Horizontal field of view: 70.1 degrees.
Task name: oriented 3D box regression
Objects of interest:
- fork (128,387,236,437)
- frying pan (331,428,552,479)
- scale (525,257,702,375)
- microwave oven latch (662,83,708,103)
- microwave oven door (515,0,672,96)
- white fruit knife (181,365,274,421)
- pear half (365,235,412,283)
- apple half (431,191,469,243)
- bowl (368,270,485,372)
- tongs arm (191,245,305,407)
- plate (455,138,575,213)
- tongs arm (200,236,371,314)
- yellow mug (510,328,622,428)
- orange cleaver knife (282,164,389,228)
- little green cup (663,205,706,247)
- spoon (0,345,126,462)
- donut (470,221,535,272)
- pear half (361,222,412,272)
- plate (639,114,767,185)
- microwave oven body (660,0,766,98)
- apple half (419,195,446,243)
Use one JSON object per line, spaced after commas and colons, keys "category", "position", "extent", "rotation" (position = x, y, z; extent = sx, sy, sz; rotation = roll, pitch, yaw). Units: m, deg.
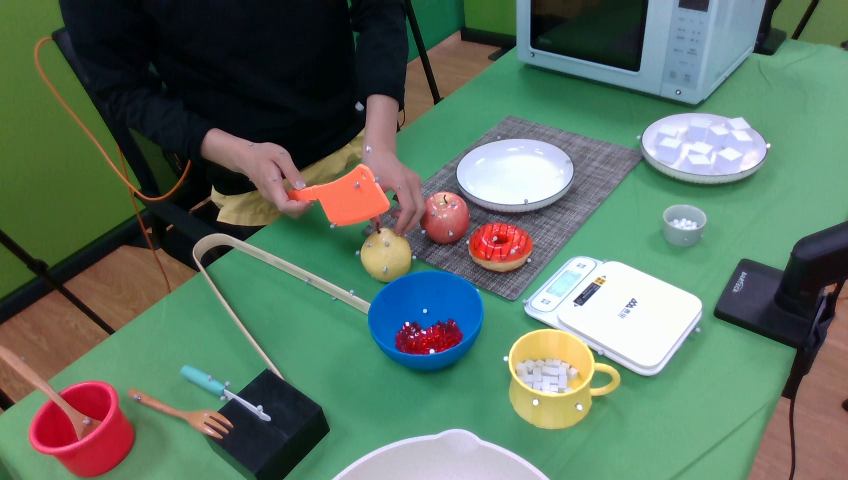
{"category": "fork", "position": [-0.305, 0.207, 0.744], "extent": [0.206, 0.019, 0.028], "rotation": [3, 41, 36]}
{"category": "frying pan", "position": [-0.089, 0.305, 0.564], "extent": [0.487, 0.103, 0.306], "rotation": [10, 41, 7]}
{"category": "scale", "position": [0.254, 0.091, 0.821], "extent": [0.199, 0.032, 0.149], "rotation": [27, 51, 35]}
{"category": "microwave oven latch", "position": [0.517, -0.296, 1.204], "extent": [0.078, 0.029, 0.030], "rotation": [27, 52, 35]}
{"category": "microwave oven door", "position": [0.343, -0.455, 1.259], "extent": [0.353, 0.245, 0.039], "rotation": [26, 51, 33]}
{"category": "white fruit knife", "position": [-0.245, 0.187, 0.747], "extent": [0.205, 0.027, 0.016], "rotation": [9, 41, 41]}
{"category": "pear half", "position": [-0.050, 0.034, 0.890], "extent": [0.070, 0.088, 0.031], "rotation": [-20, 44, -11]}
{"category": "apple half", "position": [0.045, -0.038, 0.967], "extent": [0.053, 0.075, 0.080], "rotation": [-13, 38, -11]}
{"category": "bowl", "position": [0.007, 0.118, 0.791], "extent": [0.151, 0.077, 0.150], "rotation": [-5, 39, 4]}
{"category": "tongs arm", "position": [-0.268, 0.113, 0.884], "extent": [0.028, 0.028, 0.384], "rotation": [-37, 48, -17]}
{"category": "plate", "position": [0.159, -0.111, 1.063], "extent": [0.209, 0.038, 0.208], "rotation": [-4, 40, 4]}
{"category": "tongs arm", "position": [-0.209, 0.063, 0.924], "extent": [0.381, 0.027, 0.051], "rotation": [23, 55, 32]}
{"category": "yellow mug", "position": [0.168, 0.164, 0.722], "extent": [0.130, 0.064, 0.099], "rotation": [0, 40, 8]}
{"category": "orange cleaver knife", "position": [-0.127, -0.054, 0.835], "extent": [0.210, 0.077, 0.012], "rotation": [-7, 18, 44]}
{"category": "little green cup", "position": [0.396, -0.020, 0.926], "extent": [0.061, 0.039, 0.061], "rotation": [-4, 40, 4]}
{"category": "spoon", "position": [-0.434, 0.192, 0.720], "extent": [0.194, 0.021, 0.042], "rotation": [47, 53, -7]}
{"category": "donut", "position": [0.119, 0.009, 0.923], "extent": [0.099, 0.048, 0.098], "rotation": [-4, 39, 3]}
{"category": "pear half", "position": [-0.062, 0.005, 0.908], "extent": [0.076, 0.110, 0.055], "rotation": [-18, 46, -11]}
{"category": "plate", "position": [0.489, -0.157, 1.074], "extent": [0.207, 0.039, 0.206], "rotation": [-4, 40, 4]}
{"category": "microwave oven body", "position": [0.472, -0.513, 1.317], "extent": [0.438, 0.261, 0.327], "rotation": [26, 51, 34]}
{"category": "apple half", "position": [0.009, -0.028, 0.959], "extent": [0.033, 0.081, 0.080], "rotation": [-13, 41, -11]}
